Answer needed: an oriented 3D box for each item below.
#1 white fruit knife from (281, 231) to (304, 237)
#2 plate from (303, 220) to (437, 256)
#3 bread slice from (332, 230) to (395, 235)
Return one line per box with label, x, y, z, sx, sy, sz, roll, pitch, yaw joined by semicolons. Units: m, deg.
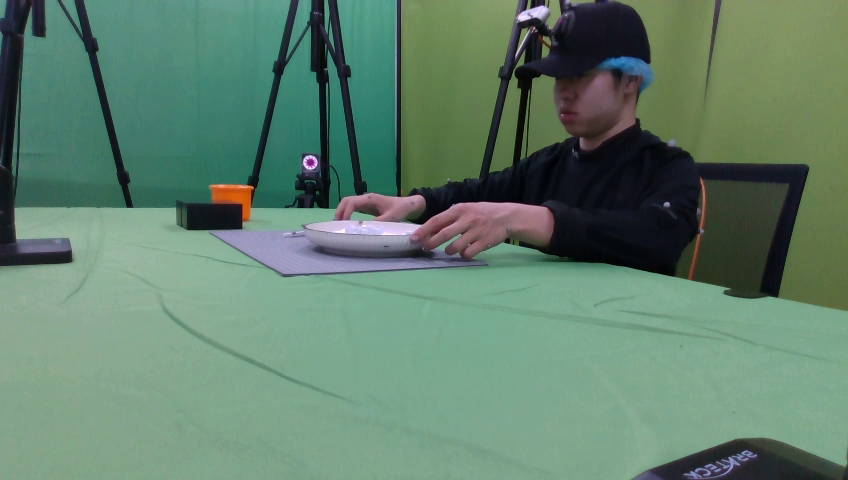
white fruit knife;-0.178;-0.017;1.131;0.208;0.016;0.027;-8;-17;-47
plate;-0.084;-0.003;0.951;0.209;0.038;0.209;3;7;0
bread slice;-0.088;-0.001;0.947;0.105;0.019;0.131;-5;11;-45
